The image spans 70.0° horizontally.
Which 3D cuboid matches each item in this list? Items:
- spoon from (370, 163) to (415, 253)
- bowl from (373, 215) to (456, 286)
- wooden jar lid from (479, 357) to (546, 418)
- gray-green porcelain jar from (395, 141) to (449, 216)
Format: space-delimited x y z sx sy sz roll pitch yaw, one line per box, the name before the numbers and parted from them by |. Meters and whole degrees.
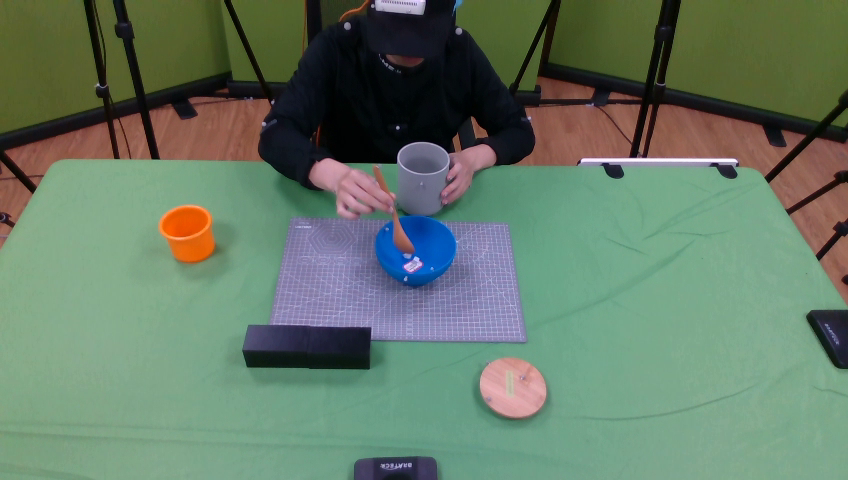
spoon | -0.056 -0.051 1.039 0.041 0.195 0.021 7 40 36
bowl | -0.019 0.032 1.122 0.151 0.077 0.150 2 46 -2
wooden jar lid | 0.142 0.240 0.979 0.108 0.021 0.107 1 46 -1
gray-green porcelain jar | -0.007 -0.120 1.241 0.106 0.127 0.105 2 46 -2
